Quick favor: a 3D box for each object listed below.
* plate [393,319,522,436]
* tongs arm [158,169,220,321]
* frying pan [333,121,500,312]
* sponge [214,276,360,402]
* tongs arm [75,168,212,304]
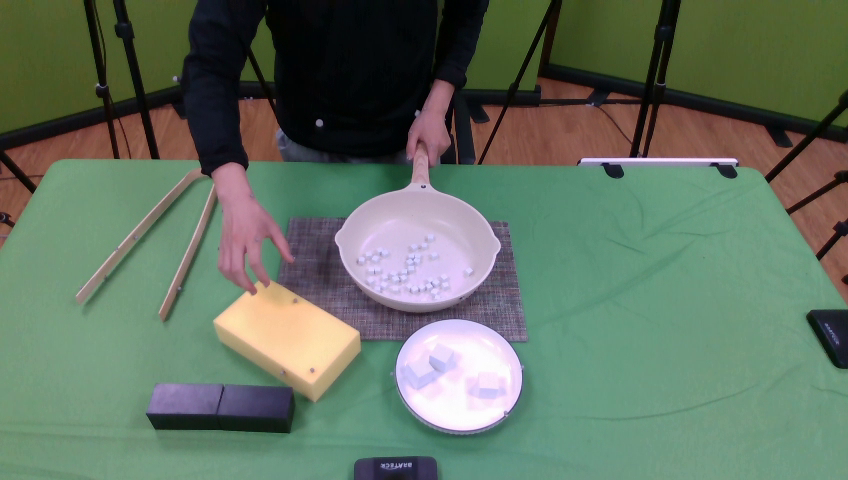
[{"bbox_3d":[0.053,0.222,0.979,0.208,0.039,0.206,3,46,-2],"label":"plate"},{"bbox_3d":[-0.446,-0.005,1.164,0.028,0.028,0.385,2,46,0],"label":"tongs arm"},{"bbox_3d":[-0.010,-0.063,1.195,0.307,0.103,0.485,4,55,-2],"label":"frying pan"},{"bbox_3d":[-0.224,0.158,0.998,0.206,0.061,0.118,27,52,19],"label":"sponge"},{"bbox_3d":[-0.526,-0.021,1.167,0.051,0.026,0.383,13,45,7],"label":"tongs arm"}]
